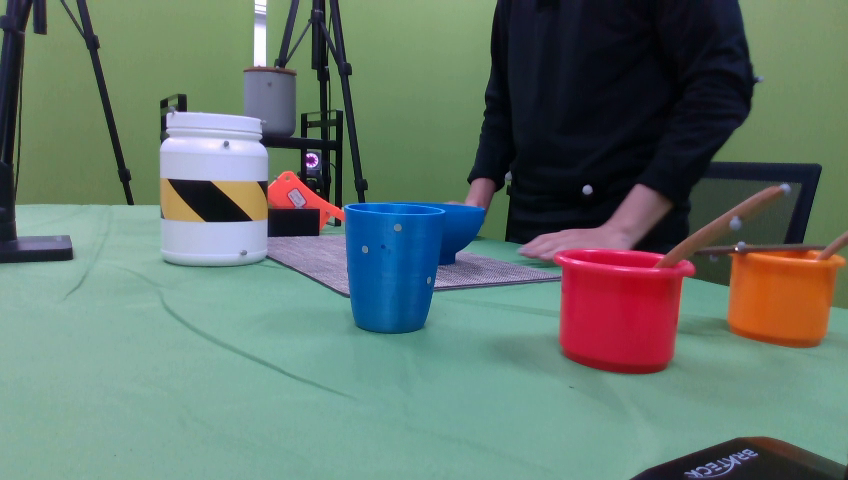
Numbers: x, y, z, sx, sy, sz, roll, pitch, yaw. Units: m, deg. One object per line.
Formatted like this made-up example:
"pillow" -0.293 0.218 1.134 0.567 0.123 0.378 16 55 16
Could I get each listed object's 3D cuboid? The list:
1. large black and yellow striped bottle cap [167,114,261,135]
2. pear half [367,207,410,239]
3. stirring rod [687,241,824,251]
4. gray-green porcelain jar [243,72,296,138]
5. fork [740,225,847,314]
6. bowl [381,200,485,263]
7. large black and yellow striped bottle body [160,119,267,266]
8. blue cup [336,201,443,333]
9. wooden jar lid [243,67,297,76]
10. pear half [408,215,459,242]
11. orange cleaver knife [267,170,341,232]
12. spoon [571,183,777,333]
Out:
"large black and yellow striped bottle cap" -0.269 -0.148 0.779 0.115 0.019 0.115 4 8 0
"pear half" -0.067 -0.027 1.057 0.076 0.056 0.110 -1 9 19
"stirring rod" 0.289 0.005 0.525 0.177 0.006 0.014 -1 5 -26
"gray-green porcelain jar" -0.322 -0.279 1.263 0.106 0.126 0.106 3 8 0
"fork" 0.323 0.013 0.485 0.028 0.018 0.207 8 -37 -6
"bowl" 0.008 -0.012 0.842 0.151 0.077 0.151 2 8 0
"large black and yellow striped bottle body" -0.272 -0.065 0.789 0.131 0.184 0.130 2 7 0
"blue cup" -0.029 0.021 0.508 0.093 0.100 0.092 3 9 0
"wooden jar lid" -0.319 -0.342 1.254 0.108 0.020 0.108 3 8 0
"pear half" 0.011 -0.019 0.848 0.070 0.031 0.088 5 12 32
"orange cleaver knife" -0.201 -0.056 1.136 0.212 0.077 0.012 31 -4 -31
"spoon" 0.161 0.020 0.413 0.042 0.021 0.193 1 -36 -24
